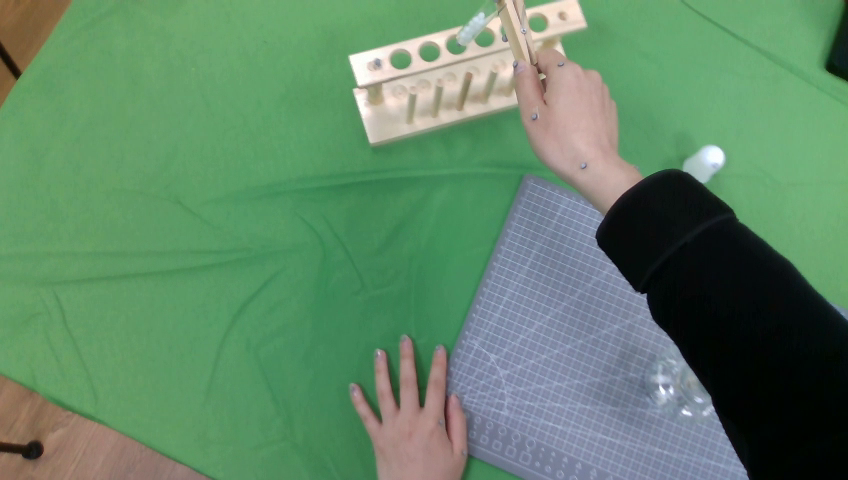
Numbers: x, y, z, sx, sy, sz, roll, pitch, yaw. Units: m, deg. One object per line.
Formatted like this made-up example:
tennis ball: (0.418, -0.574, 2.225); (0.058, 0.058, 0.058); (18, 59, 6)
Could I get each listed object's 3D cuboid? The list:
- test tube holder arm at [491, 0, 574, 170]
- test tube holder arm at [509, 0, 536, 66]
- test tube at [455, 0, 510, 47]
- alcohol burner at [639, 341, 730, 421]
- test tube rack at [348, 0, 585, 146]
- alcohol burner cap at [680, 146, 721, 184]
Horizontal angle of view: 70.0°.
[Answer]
test tube holder arm: (0.086, -0.142, 0.500); (0.013, 0.015, 0.178); (-18, 86, -30)
test tube holder arm: (0.077, -0.185, 0.507); (0.010, 0.015, 0.087); (-7, 81, -29)
test tube: (0.064, -0.205, 0.513); (0.017, 0.150, 0.017); (6, 76, -23)
alcohol burner: (0.257, 0.136, 0.584); (0.078, 0.119, 0.077); (1, 76, -3)
test tube rack: (0.047, -0.175, 0.643); (0.242, 0.085, 0.066); (-16, 80, -7)
alcohol burner cap: (0.308, -0.085, 0.667); (0.034, 0.048, 0.033); (1, 74, -3)
